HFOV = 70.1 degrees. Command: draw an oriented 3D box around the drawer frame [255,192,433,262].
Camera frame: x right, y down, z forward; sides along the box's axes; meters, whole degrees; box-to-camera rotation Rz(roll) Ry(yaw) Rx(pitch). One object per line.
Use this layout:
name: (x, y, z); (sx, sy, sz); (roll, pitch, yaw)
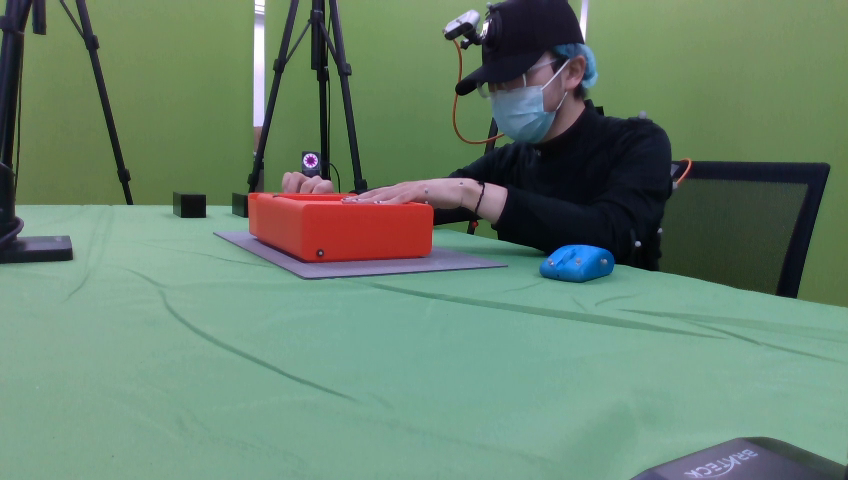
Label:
drawer frame: (-0.126, -0.026, 0.910); (0.203, 0.082, 0.212); (-1, 9, -32)

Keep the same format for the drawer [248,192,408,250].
drawer: (-0.156, -0.033, 0.958); (0.195, 0.073, 0.210); (-1, 9, -30)

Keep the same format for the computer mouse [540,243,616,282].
computer mouse: (0.204, 0.028, 0.797); (0.062, 0.041, 0.118); (10, 14, 38)
